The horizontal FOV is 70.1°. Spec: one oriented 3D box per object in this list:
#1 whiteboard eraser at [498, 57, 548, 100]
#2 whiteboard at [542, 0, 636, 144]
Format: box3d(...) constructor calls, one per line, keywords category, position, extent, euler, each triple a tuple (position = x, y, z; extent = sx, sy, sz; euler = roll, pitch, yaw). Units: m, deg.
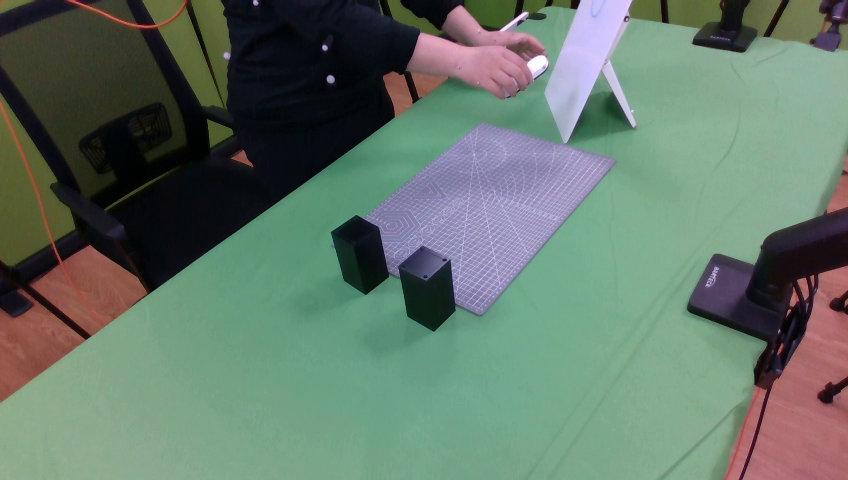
box3d(category="whiteboard eraser", position=(0.180, -0.296, 1.100), extent=(0.101, 0.019, 0.041), euler=(-35, 40, 18))
box3d(category="whiteboard", position=(0.366, -0.351, 1.160), extent=(0.144, 0.305, 0.216), euler=(10, 39, -10))
